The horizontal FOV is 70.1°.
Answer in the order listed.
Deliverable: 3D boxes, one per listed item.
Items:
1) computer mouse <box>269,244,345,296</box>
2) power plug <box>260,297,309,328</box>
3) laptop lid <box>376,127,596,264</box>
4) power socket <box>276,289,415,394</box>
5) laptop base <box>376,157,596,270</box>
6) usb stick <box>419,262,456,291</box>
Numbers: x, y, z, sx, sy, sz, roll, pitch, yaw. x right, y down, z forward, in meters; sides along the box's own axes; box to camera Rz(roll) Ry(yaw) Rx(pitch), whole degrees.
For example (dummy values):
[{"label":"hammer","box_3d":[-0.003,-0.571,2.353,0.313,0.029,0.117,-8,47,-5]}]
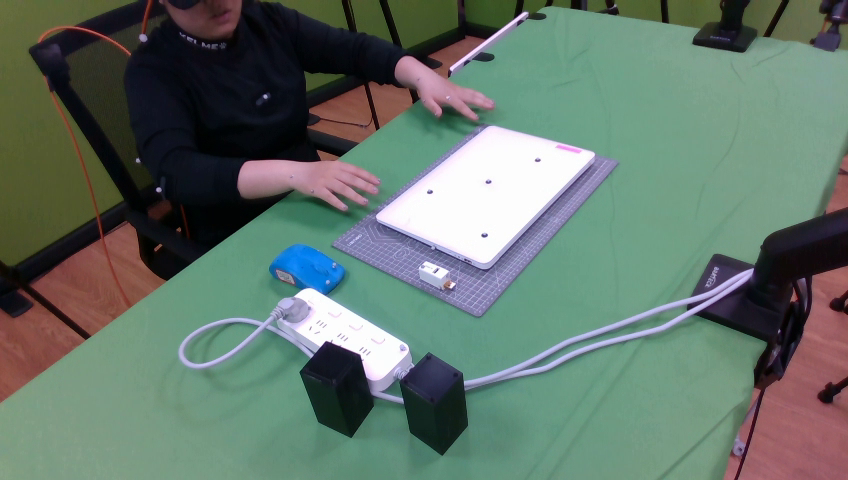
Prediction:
[{"label":"computer mouse","box_3d":[-0.182,0.044,0.933,0.116,0.041,0.063,23,47,25]},{"label":"power plug","box_3d":[-0.193,0.107,0.831,0.073,0.053,0.035,-32,43,-24]},{"label":"laptop lid","box_3d":[0.112,-0.096,1.050,0.239,0.013,0.358,24,49,34]},{"label":"power socket","box_3d":[-0.114,0.133,0.821,0.225,0.033,0.072,25,49,33]},{"label":"laptop base","box_3d":[0.115,-0.086,1.056,0.233,0.023,0.355,21,48,34]},{"label":"usb stick","box_3d":[0.022,0.056,0.892,0.059,0.027,0.021,25,46,30]}]
